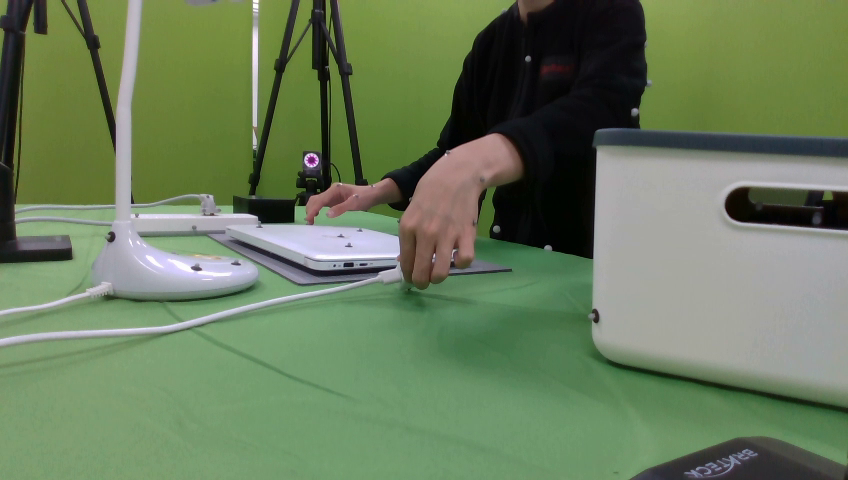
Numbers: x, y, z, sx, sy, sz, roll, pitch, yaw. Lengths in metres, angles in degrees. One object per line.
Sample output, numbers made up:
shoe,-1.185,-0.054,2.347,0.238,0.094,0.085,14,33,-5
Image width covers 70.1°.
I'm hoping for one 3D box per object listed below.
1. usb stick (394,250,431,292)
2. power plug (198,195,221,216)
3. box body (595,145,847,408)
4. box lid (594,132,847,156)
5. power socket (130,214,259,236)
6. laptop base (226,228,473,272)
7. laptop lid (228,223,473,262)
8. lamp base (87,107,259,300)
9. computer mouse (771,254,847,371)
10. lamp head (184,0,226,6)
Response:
usb stick,-0.014,0.036,0.634,0.027,0.021,0.059,-17,-29,-25
power plug,-0.385,-0.055,1.088,0.035,0.052,0.072,-2,7,-24
box body,0.309,0.006,0.509,0.253,0.160,0.366,6,8,29
box lid,0.311,-0.066,0.499,0.262,0.015,0.373,7,8,29
power socket,-0.397,-0.028,1.048,0.228,0.032,0.072,-3,7,-35
laptop base,-0.125,0.011,0.889,0.237,0.023,0.352,1,6,-35
laptop lid,-0.123,-0.001,0.888,0.243,0.013,0.355,1,7,-33
lamp base,-0.254,-0.039,0.603,0.160,0.180,0.179,5,10,18
computer mouse,0.344,0.057,0.519,0.063,0.041,0.117,12,47,3
lamp head,-0.229,-0.320,0.627,0.112,0.112,0.123,6,-36,26
